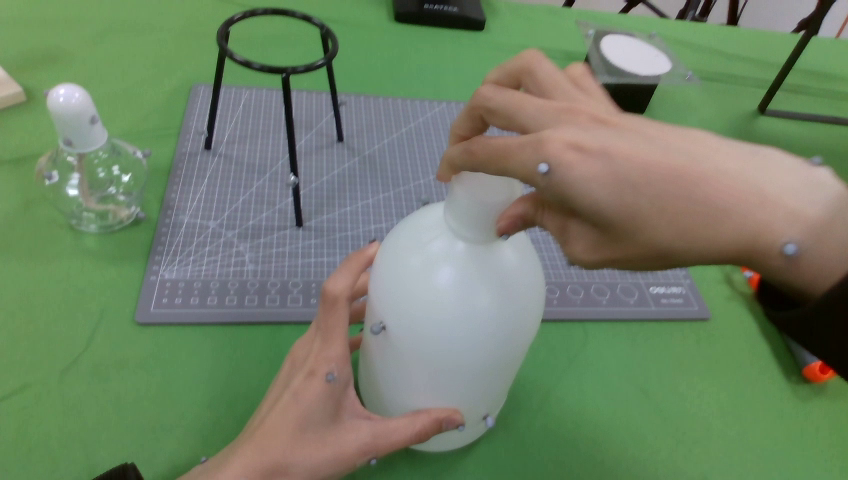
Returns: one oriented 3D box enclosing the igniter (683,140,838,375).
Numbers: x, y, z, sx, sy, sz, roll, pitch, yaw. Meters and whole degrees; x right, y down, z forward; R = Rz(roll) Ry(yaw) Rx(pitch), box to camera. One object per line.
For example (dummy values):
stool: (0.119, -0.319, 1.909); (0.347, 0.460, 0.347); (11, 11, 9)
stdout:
igniter: (0.303, 0.003, 0.561); (0.057, 0.025, 0.273); (10, 46, -17)

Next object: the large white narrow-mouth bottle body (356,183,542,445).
large white narrow-mouth bottle body: (0.014, 0.036, 0.355); (0.102, 0.196, 0.101); (6, 47, -6)

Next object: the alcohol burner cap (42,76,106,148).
alcohol burner cap: (-0.245, -0.091, 0.421); (0.034, 0.048, 0.033); (5, 53, -6)

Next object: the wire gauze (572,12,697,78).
wire gauze: (0.239, -0.224, 0.703); (0.122, 0.011, 0.123); (3, 48, -12)

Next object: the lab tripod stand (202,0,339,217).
lab tripod stand: (-0.119, -0.114, 0.500); (0.149, 0.132, 0.147); (7, 48, -8)

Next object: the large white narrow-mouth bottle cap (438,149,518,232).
large white narrow-mouth bottle cap: (0.026, -0.024, 0.292); (0.038, 0.024, 0.037); (6, 47, -6)

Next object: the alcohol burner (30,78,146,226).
alcohol burner: (-0.250, -0.068, 0.448); (0.078, 0.120, 0.077); (7, 45, -7)

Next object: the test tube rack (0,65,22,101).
test tube rack: (-0.469, -0.126, 0.472); (0.066, 0.086, 0.242); (39, 52, 22)
